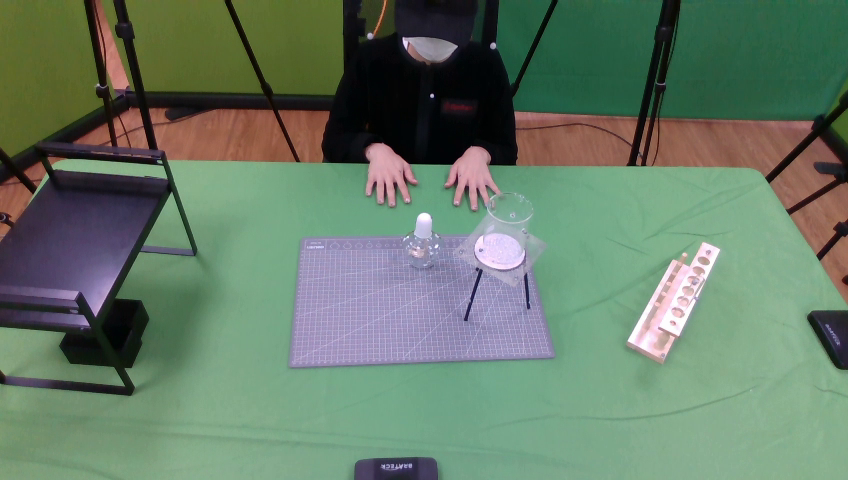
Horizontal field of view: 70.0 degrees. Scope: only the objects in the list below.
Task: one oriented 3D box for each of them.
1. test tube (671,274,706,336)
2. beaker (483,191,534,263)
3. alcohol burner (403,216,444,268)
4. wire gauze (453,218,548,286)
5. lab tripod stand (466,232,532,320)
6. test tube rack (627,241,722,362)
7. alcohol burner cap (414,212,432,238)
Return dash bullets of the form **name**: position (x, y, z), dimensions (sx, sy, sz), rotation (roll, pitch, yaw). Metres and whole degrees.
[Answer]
- **test tube**: position (0.429, 0.112, 1.004), dimensions (0.017, 0.151, 0.017), rotation (4, 43, -4)
- **beaker**: position (0.135, -0.020, 0.983), dimensions (0.073, 0.101, 0.084), rotation (28, 50, 23)
- **alcohol burner**: position (-0.001, -0.004, 1.132), dimensions (0.078, 0.120, 0.077), rotation (1, 46, 0)
- **wire gauze**: position (0.129, 0.014, 1.019), dimensions (0.124, 0.011, 0.121), rotation (26, 47, 25)
- **lab tripod stand**: position (0.125, 0.059, 1.065), dimensions (0.148, 0.132, 0.147), rotation (1, 45, 0)
- **test tube rack**: position (0.452, 0.098, 1.087), dimensions (0.066, 0.085, 0.242), rotation (28, 51, 22)
- **alcohol burner cap**: position (0.000, -0.030, 1.107), dimensions (0.034, 0.048, 0.033), rotation (4, 41, -3)
